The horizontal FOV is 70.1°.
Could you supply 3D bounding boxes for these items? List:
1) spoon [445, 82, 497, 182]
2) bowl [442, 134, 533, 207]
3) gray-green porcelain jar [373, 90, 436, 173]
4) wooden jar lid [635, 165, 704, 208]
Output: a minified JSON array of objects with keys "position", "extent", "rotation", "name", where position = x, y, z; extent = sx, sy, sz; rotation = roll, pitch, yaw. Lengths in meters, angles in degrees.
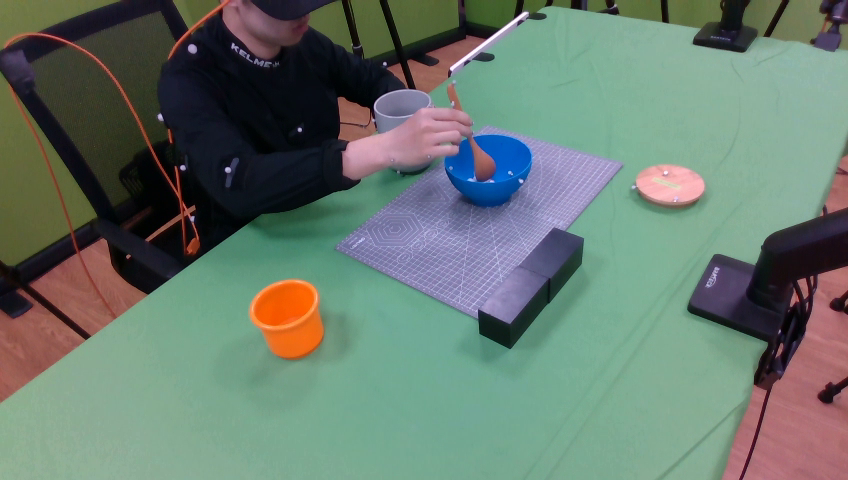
[{"position":[0.071,-0.165,0.955],"extent":[0.041,0.195,0.021],"rotation":[-35,34,-5],"name":"spoon"},{"position":[0.111,-0.110,1.033],"extent":[0.151,0.077,0.150],"rotation":[-4,40,4],"name":"bowl"},{"position":[-0.034,-0.198,1.125],"extent":[0.106,0.127,0.105],"rotation":[-4,41,4],"name":"gray-green porcelain jar"},{"position":[0.411,-0.089,1.014],"extent":[0.108,0.021,0.108],"rotation":[-5,41,5],"name":"wooden jar lid"}]
